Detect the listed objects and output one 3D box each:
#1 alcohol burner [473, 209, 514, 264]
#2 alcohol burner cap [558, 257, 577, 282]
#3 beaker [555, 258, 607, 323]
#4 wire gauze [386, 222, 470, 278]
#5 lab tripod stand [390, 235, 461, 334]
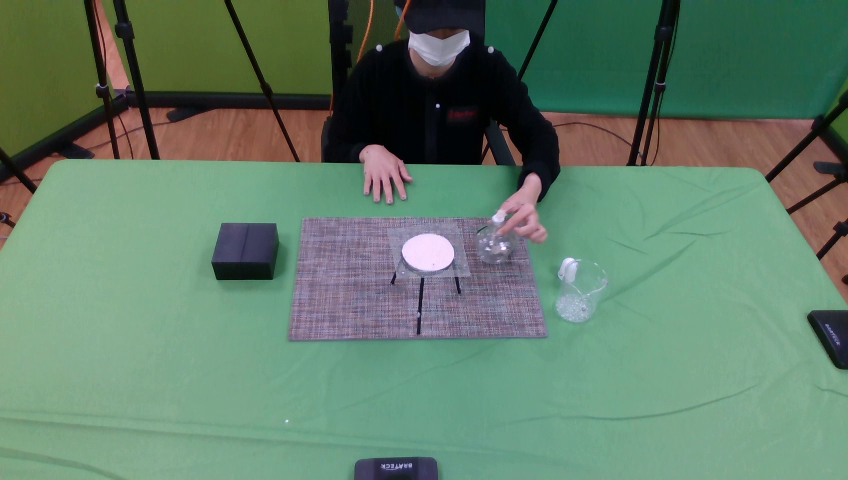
[{"bbox_3d":[0.132,-0.012,1.134,0.078,0.120,0.077,0,45,0],"label":"alcohol burner"},{"bbox_3d":[0.276,0.053,1.154,0.034,0.048,0.033,2,46,-1],"label":"alcohol burner cap"},{"bbox_3d":[0.275,0.094,1.073,0.074,0.101,0.083,10,47,6],"label":"beaker"},{"bbox_3d":[0.004,0.017,1.005,0.125,0.011,0.120,-5,46,-8],"label":"wire gauze"},{"bbox_3d":[-0.001,0.067,1.050,0.148,0.132,0.147,1,47,-1],"label":"lab tripod stand"}]
